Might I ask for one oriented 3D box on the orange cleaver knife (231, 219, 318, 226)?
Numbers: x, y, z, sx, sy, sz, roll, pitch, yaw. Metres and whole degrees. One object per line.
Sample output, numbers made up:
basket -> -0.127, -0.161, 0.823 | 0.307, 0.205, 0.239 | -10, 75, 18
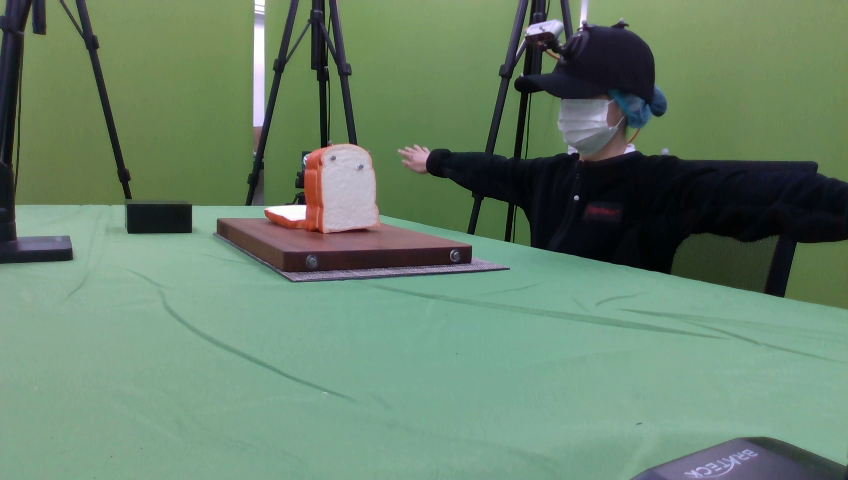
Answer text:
orange cleaver knife -> -0.276, -0.034, 1.200 | 0.212, 0.012, 0.077 | 2, 4, -26

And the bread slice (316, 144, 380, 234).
bread slice -> -0.121, -0.078, 0.924 | 0.107, 0.134, 0.018 | -12, 9, -42
